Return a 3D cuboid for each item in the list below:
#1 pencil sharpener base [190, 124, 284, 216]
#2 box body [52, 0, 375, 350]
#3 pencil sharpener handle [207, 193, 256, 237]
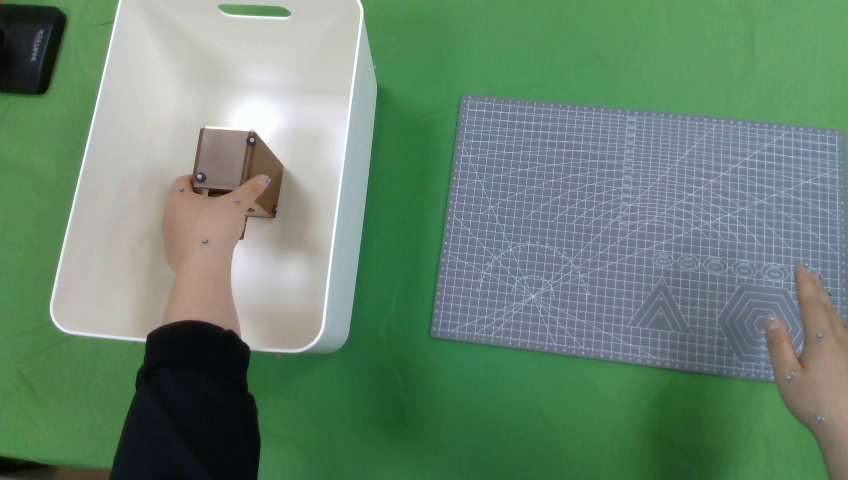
[{"bbox_3d":[-0.204,-0.072,0.673,0.061,0.107,0.076,4,76,6],"label":"pencil sharpener base"},{"bbox_3d":[-0.196,-0.068,0.650,0.254,0.161,0.362,4,78,4],"label":"box body"},{"bbox_3d":[-0.205,-0.025,0.648,0.036,0.068,0.030,-1,75,23],"label":"pencil sharpener handle"}]
